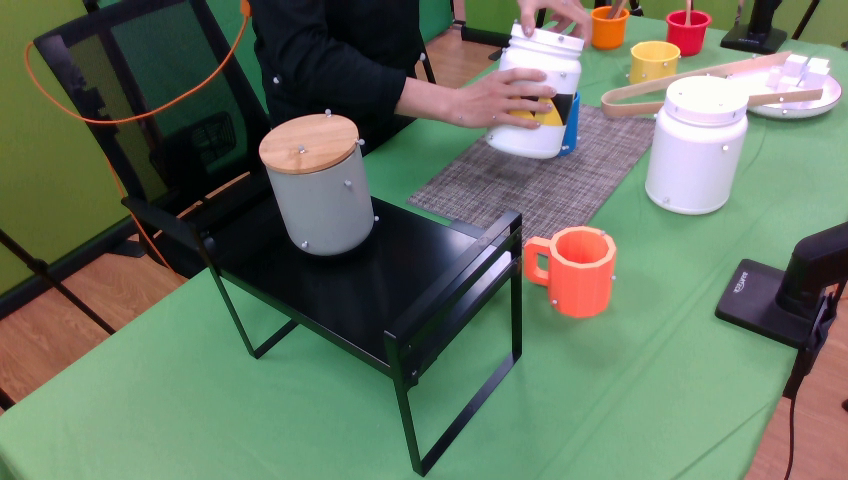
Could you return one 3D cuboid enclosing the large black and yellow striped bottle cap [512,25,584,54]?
[{"bbox_3d":[0.195,-0.317,0.953,0.115,0.019,0.114,11,23,-4],"label":"large black and yellow striped bottle cap"}]

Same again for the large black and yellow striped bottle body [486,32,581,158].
[{"bbox_3d":[0.180,-0.239,0.988,0.131,0.184,0.130,8,24,-3],"label":"large black and yellow striped bottle body"}]

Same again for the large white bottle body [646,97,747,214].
[{"bbox_3d":[0.431,-0.148,0.959,0.130,0.185,0.130,-4,41,4],"label":"large white bottle body"}]

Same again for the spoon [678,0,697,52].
[{"bbox_3d":[0.614,-0.526,1.402,0.041,0.022,0.193,3,86,11],"label":"spoon"}]

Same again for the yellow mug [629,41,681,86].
[{"bbox_3d":[0.495,-0.389,1.321,0.100,0.064,0.130,-14,40,-6],"label":"yellow mug"}]

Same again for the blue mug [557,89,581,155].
[{"bbox_3d":[0.233,-0.219,1.127,0.117,0.106,0.081,-22,43,-17],"label":"blue mug"}]

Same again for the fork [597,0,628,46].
[{"bbox_3d":[0.479,-0.558,1.455,0.028,0.019,0.207,35,100,38],"label":"fork"}]

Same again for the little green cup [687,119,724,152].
[{"bbox_3d":[0.514,-0.191,1.109,0.061,0.039,0.061,-5,40,5],"label":"little green cup"}]

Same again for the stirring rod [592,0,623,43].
[{"bbox_3d":[0.460,-0.557,1.461,0.014,0.176,0.006,35,11,22],"label":"stirring rod"}]

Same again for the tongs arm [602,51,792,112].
[{"bbox_3d":[0.552,-0.319,1.224,0.384,0.027,0.050,-10,43,7],"label":"tongs arm"}]

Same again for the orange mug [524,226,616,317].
[{"bbox_3d":[0.201,0.039,0.845,0.125,0.101,0.083,18,47,21],"label":"orange mug"}]

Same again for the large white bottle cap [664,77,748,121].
[{"bbox_3d":[0.421,-0.212,0.905,0.115,0.018,0.114,-4,40,4],"label":"large white bottle cap"}]

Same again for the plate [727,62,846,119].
[{"bbox_3d":[0.710,-0.292,1.198,0.207,0.039,0.206,-4,40,4],"label":"plate"}]

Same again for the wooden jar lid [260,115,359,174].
[{"bbox_3d":[-0.124,-0.101,0.662,0.108,0.021,0.108,-4,41,4],"label":"wooden jar lid"}]

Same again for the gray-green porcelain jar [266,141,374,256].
[{"bbox_3d":[-0.117,-0.054,0.703,0.106,0.127,0.105,-4,40,4],"label":"gray-green porcelain jar"}]

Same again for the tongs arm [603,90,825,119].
[{"bbox_3d":[0.546,-0.262,1.163,0.386,0.028,0.028,-1,49,18],"label":"tongs arm"}]
